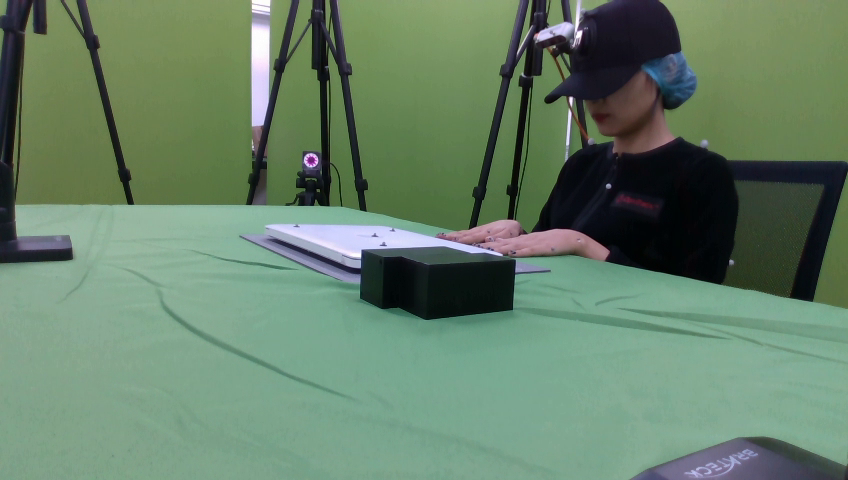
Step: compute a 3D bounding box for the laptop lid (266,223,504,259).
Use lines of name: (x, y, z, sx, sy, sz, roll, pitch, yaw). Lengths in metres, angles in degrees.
laptop lid: (-0.074, -0.003, 0.914, 0.243, 0.013, 0.355, 1, 7, -31)

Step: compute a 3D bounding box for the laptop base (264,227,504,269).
laptop base: (-0.077, 0.009, 0.914, 0.237, 0.023, 0.352, 2, 6, -33)
